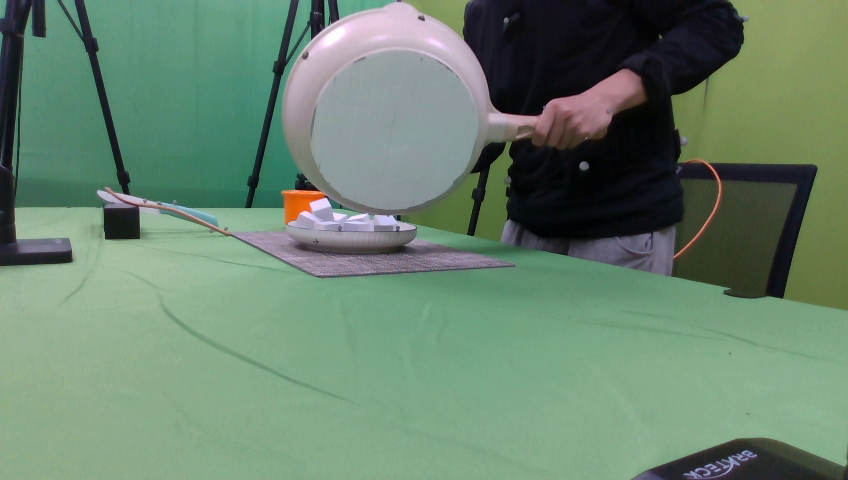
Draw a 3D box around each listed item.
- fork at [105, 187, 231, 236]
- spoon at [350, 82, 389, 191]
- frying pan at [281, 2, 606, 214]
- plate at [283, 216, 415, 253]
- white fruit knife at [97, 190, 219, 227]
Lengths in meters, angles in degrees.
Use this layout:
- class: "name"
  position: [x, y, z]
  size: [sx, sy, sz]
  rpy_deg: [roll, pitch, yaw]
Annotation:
- class: "fork"
  position: [-0.428, -0.046, 1.020]
  size: [0.208, 0.018, 0.028]
  rpy_deg: [19, -11, -26]
- class: "spoon"
  position: [-0.081, -0.165, 0.942]
  size: [0.042, 0.193, 0.021]
  rpy_deg: [20, -25, -25]
- class: "frying pan"
  position: [0.053, -0.165, 0.861]
  size: [0.490, 0.306, 0.102]
  rpy_deg: [-5, 33, -21]
- class: "plate"
  position: [-0.119, -0.009, 0.968]
  size: [0.208, 0.039, 0.207]
  rpy_deg: [3, 7, 0]
- class: "white fruit knife"
  position: [-0.468, -0.057, 1.079]
  size: [0.208, 0.027, 0.016]
  rpy_deg: [16, -1, -29]
